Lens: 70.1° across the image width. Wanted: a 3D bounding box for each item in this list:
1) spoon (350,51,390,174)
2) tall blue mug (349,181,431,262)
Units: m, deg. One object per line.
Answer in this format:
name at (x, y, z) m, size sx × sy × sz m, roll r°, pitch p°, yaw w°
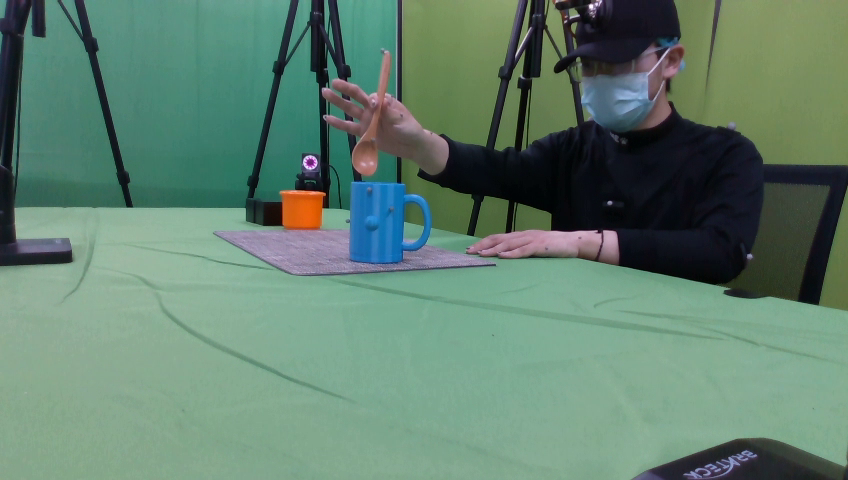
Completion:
spoon at (-0.072, -0.189, 0.890) m, size 0.042 × 0.193 × 0.021 m, roll 17°, pitch -7°, yaw -27°
tall blue mug at (-0.052, -0.028, 0.849) m, size 0.108 × 0.108 × 0.077 m, roll -1°, pitch 7°, yaw -22°
